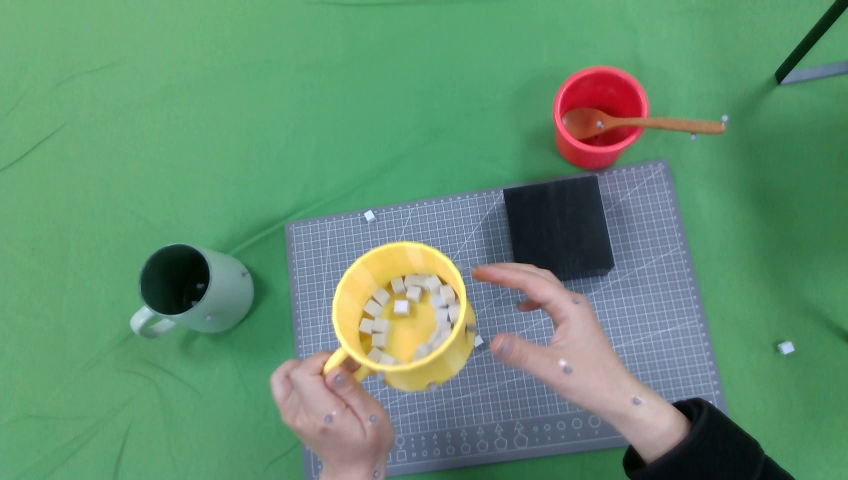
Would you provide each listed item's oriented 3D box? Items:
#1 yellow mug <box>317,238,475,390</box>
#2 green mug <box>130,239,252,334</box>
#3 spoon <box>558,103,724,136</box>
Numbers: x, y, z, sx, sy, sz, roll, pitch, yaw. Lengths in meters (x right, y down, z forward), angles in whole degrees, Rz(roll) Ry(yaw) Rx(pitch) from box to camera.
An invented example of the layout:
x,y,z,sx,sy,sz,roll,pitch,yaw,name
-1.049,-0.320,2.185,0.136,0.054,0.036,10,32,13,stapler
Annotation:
x,y,z,sx,sy,sz,roll,pitch,yaw,name
-0.027,0.067,0.456,0.131,0.064,0.099,-40,63,-8,yellow mug
-0.261,0.059,0.664,0.125,0.105,0.092,-40,77,-3,green mug
0.217,-0.123,0.630,0.192,0.022,0.041,19,80,55,spoon
